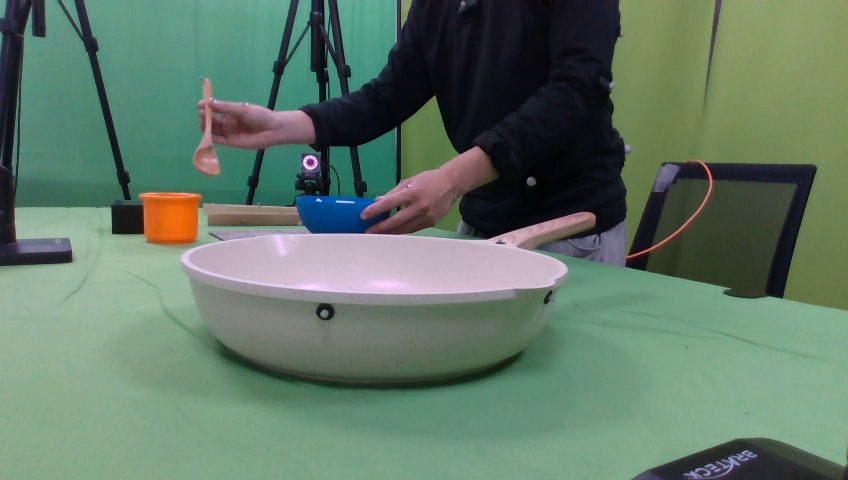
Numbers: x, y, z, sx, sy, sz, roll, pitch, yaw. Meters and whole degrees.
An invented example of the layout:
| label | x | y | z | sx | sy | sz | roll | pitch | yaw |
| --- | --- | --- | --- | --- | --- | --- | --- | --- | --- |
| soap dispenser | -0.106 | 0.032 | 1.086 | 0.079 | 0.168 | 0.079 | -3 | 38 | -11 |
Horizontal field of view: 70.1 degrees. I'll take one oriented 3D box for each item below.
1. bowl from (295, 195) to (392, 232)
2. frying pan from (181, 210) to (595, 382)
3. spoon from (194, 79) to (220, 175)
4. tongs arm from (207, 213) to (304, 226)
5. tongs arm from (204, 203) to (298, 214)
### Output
| label | x | y | z | sx | sy | sz | roll | pitch | yaw |
| --- | --- | --- | --- | --- | --- | --- | --- | --- | --- |
| bowl | -0.127 | -0.028 | 0.948 | 0.151 | 0.077 | 0.151 | 3 | 7 | 0 |
| frying pan | 0.034 | 0.019 | 0.557 | 0.305 | 0.102 | 0.490 | 10 | 19 | 42 |
| spoon | -0.346 | -0.184 | 0.971 | 0.042 | 0.193 | 0.021 | 14 | -32 | -39 |
| tongs arm | -0.264 | -0.046 | 1.297 | 0.390 | 0.028 | 0.028 | -2 | 7 | -32 |
| tongs arm | -0.295 | -0.062 | 1.370 | 0.386 | 0.026 | 0.050 | 1 | 9 | -19 |
